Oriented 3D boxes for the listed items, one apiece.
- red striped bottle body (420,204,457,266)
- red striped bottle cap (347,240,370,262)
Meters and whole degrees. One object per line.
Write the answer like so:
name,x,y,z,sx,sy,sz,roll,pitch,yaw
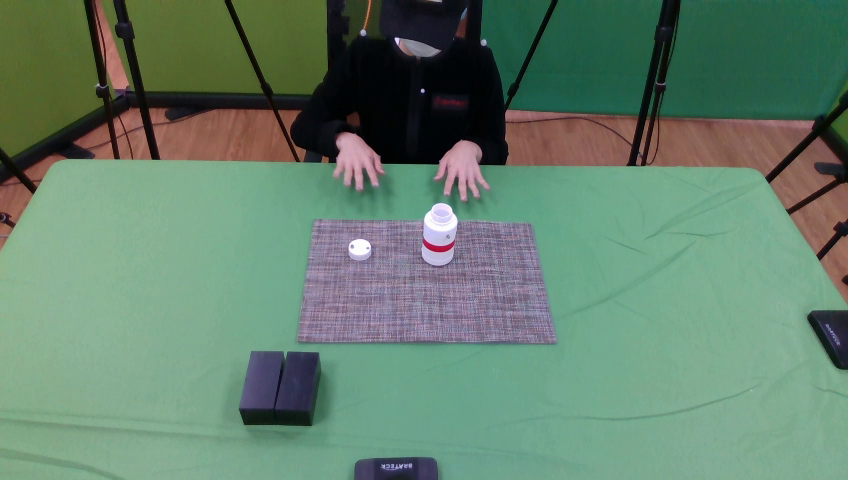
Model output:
red striped bottle body,0.027,-0.012,1.138,0.063,0.120,0.062,3,45,-3
red striped bottle cap,-0.127,0.020,1.169,0.044,0.018,0.044,2,49,-3
